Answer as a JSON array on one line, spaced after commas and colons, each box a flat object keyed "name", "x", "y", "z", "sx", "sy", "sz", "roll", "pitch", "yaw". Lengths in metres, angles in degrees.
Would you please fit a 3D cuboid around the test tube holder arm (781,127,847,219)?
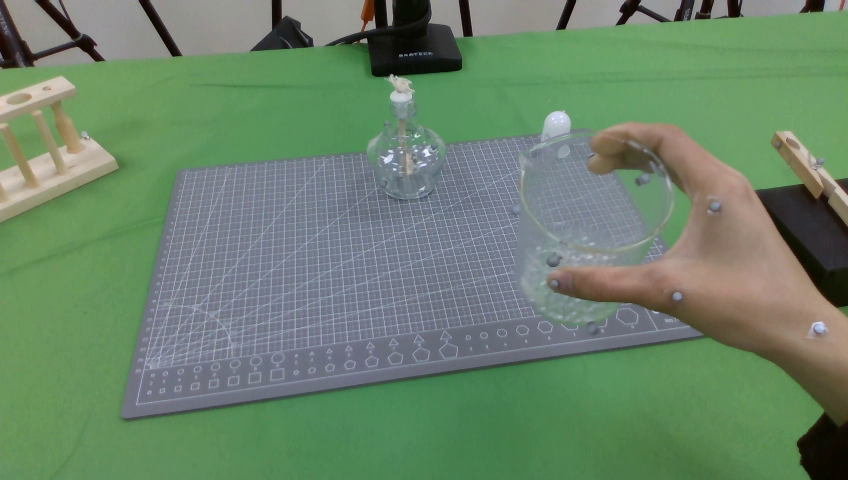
[{"name": "test tube holder arm", "x": 0.344, "y": -0.042, "z": 0.510, "sx": 0.013, "sy": 0.015, "sz": 0.176, "roll": -10, "pitch": 43, "yaw": 2}]

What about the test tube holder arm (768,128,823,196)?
[{"name": "test tube holder arm", "x": 0.335, "y": -0.071, "z": 0.543, "sx": 0.010, "sy": 0.015, "sz": 0.087, "roll": -9, "pitch": 43, "yaw": 2}]

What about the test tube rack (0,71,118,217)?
[{"name": "test tube rack", "x": -0.431, "y": -0.066, "z": 0.566, "sx": 0.066, "sy": 0.086, "sz": 0.242, "roll": 33, "pitch": 53, "yaw": 31}]

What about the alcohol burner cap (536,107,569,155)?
[{"name": "alcohol burner cap", "x": 0.137, "y": -0.118, "z": 0.642, "sx": 0.034, "sy": 0.048, "sz": 0.033, "roll": 0, "pitch": 43, "yaw": 1}]

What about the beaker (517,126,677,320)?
[{"name": "beaker", "x": 0.086, "y": -0.005, "z": 0.340, "sx": 0.083, "sy": 0.101, "sz": 0.074, "roll": 35, "pitch": 69, "yaw": 23}]

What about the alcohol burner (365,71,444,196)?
[{"name": "alcohol burner", "x": -0.020, "y": -0.102, "z": 0.575, "sx": 0.078, "sy": 0.120, "sz": 0.077, "roll": -2, "pitch": 42, "yaw": 2}]
